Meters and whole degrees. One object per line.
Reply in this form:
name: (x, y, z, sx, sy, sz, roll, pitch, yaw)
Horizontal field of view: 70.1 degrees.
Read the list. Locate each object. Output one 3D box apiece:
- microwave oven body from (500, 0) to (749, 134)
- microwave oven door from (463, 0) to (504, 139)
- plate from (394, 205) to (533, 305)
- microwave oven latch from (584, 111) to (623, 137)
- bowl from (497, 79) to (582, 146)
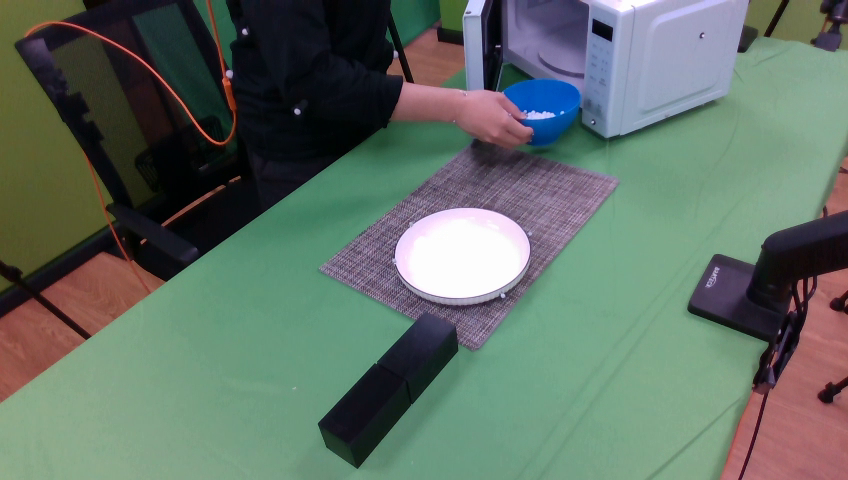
microwave oven body: (0.382, -0.444, 1.246, 0.327, 0.261, 0.437, -22, 42, -16)
microwave oven door: (0.125, -0.403, 1.226, 0.039, 0.245, 0.355, 3, 42, 12)
plate: (0.059, 0.025, 0.915, 0.207, 0.039, 0.206, -4, 41, 4)
microwave oven latch: (0.337, -0.222, 1.142, 0.030, 0.029, 0.078, -21, 42, -14)
bowl: (0.210, -0.225, 1.106, 0.151, 0.077, 0.150, -5, 40, 5)
